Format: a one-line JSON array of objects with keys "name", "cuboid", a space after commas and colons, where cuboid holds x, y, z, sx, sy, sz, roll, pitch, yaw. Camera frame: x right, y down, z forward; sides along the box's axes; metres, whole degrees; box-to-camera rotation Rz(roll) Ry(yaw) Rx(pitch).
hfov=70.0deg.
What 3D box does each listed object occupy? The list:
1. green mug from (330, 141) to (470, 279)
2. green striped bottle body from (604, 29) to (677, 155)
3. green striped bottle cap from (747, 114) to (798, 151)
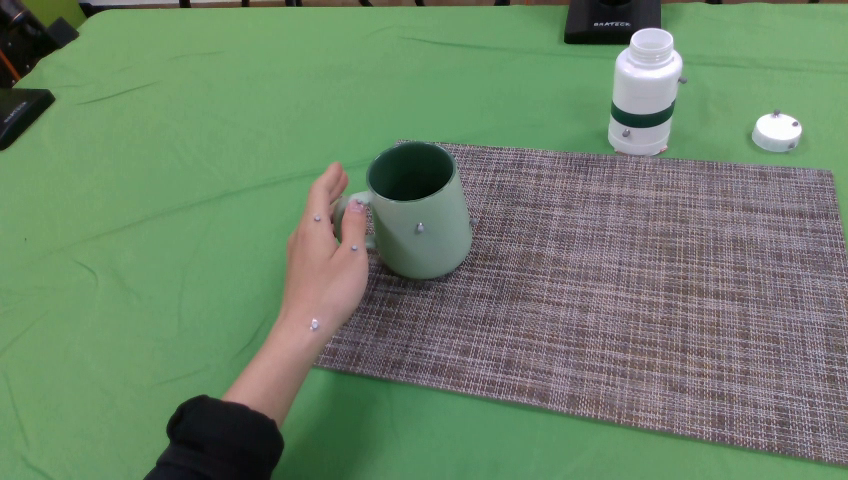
[{"name": "green mug", "cuboid": [-0.023, -0.021, 0.554, 0.125, 0.106, 0.091, -14, 49, -1]}, {"name": "green striped bottle body", "cuboid": [0.219, -0.150, 0.616, 0.063, 0.120, 0.062, -5, 48, 6]}, {"name": "green striped bottle cap", "cuboid": [0.360, -0.111, 0.626, 0.044, 0.020, 0.044, -4, 45, 4]}]
